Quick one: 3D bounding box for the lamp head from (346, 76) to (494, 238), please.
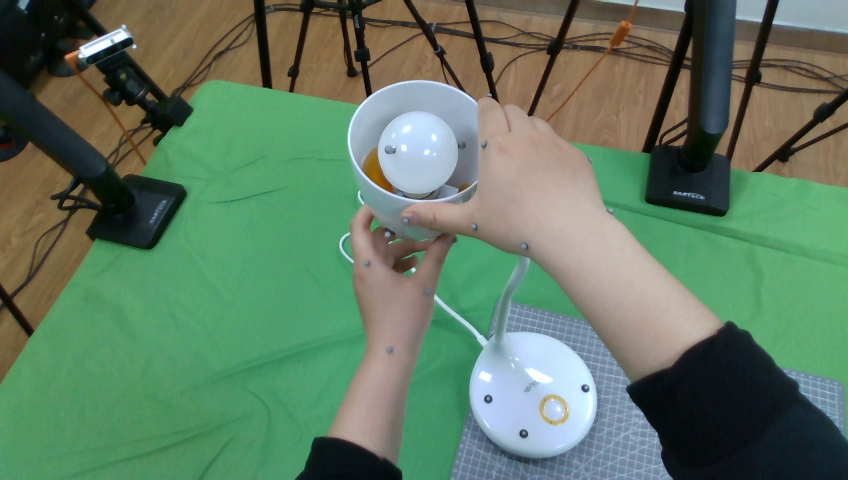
[{"bbox_3d":[-0.001,-0.053,0.497,0.112,0.124,0.111,-1,62,2],"label":"lamp head"}]

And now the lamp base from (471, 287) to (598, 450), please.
[{"bbox_3d":[0.124,0.137,0.710,0.177,0.182,0.160,36,66,26],"label":"lamp base"}]

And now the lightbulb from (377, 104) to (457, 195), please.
[{"bbox_3d":[-0.005,-0.061,0.473,0.059,0.108,0.059,0,68,1],"label":"lightbulb"}]
